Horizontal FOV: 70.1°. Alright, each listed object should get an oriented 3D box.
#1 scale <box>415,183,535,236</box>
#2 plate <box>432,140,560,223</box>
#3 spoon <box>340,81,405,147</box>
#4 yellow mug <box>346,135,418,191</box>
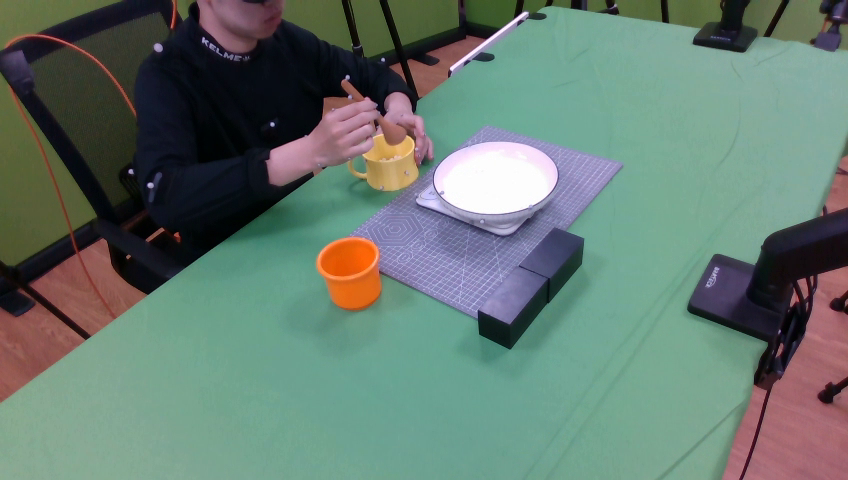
[{"bbox_3d":[0.099,-0.080,1.035,0.199,0.032,0.149,23,48,31],"label":"scale"},{"bbox_3d":[0.118,-0.094,0.999,0.209,0.038,0.208,-4,41,4],"label":"plate"},{"bbox_3d":[-0.085,-0.204,0.993,0.041,0.195,0.021,-38,55,10],"label":"spoon"},{"bbox_3d":[-0.079,-0.142,1.115,0.131,0.064,0.099,-6,38,2],"label":"yellow mug"}]
